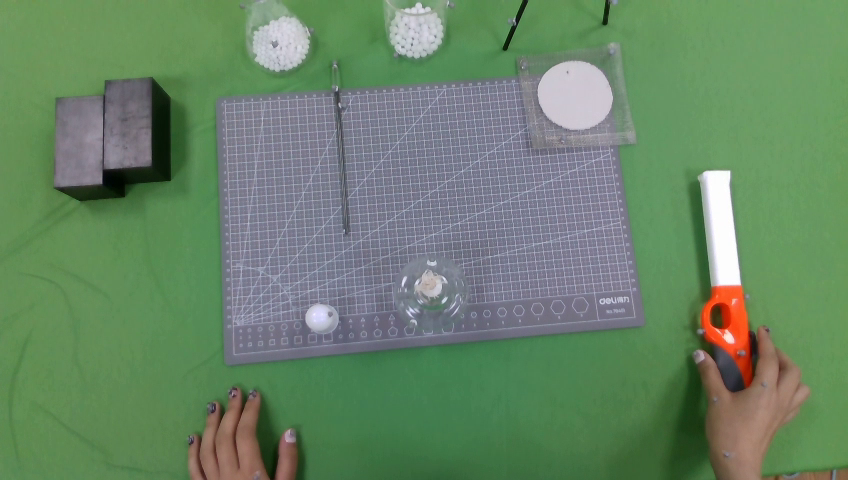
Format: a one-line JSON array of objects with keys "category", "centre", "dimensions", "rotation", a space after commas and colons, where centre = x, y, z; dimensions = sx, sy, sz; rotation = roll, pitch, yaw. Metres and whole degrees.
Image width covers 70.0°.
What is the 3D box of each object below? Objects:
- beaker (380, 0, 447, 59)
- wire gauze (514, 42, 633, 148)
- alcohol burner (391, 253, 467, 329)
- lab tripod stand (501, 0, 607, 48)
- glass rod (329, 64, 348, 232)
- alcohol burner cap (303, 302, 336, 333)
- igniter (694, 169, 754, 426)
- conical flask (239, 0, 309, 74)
[{"category": "beaker", "centre": [-0.013, -0.255, 0.668], "dimensions": [0.074, 0.100, 0.083], "rotation": [-3, 78, -2]}, {"category": "wire gauze", "centre": [0.173, -0.166, 0.701], "dimensions": [0.125, 0.011, 0.121], "rotation": [-6, 80, -3]}, {"category": "alcohol burner", "centre": [0.005, 0.049, 0.602], "dimensions": [0.078, 0.119, 0.077], "rotation": [0, 81, -1]}, {"category": "lab tripod stand", "centre": [0.144, -0.289, 0.661], "dimensions": [0.148, 0.132, 0.148], "rotation": [0, 81, -2]}, {"category": "glass rod", "centre": [-0.096, -0.106, 0.679], "dimensions": [0.008, 0.008, 0.199], "rotation": [-5, 79, -3]}, {"category": "alcohol burner cap", "centre": [-0.110, 0.079, 0.629], "dimensions": [0.034, 0.048, 0.033], "rotation": [0, 79, -2]}, {"category": "igniter", "centre": [0.322, 0.058, 0.656], "dimensions": [0.057, 0.025, 0.275], "rotation": [0, 80, -3]}, {"category": "conical flask", "centre": [-0.169, -0.237, 0.648], "dimensions": [0.075, 0.122, 0.075], "rotation": [0, 79, -1]}]
